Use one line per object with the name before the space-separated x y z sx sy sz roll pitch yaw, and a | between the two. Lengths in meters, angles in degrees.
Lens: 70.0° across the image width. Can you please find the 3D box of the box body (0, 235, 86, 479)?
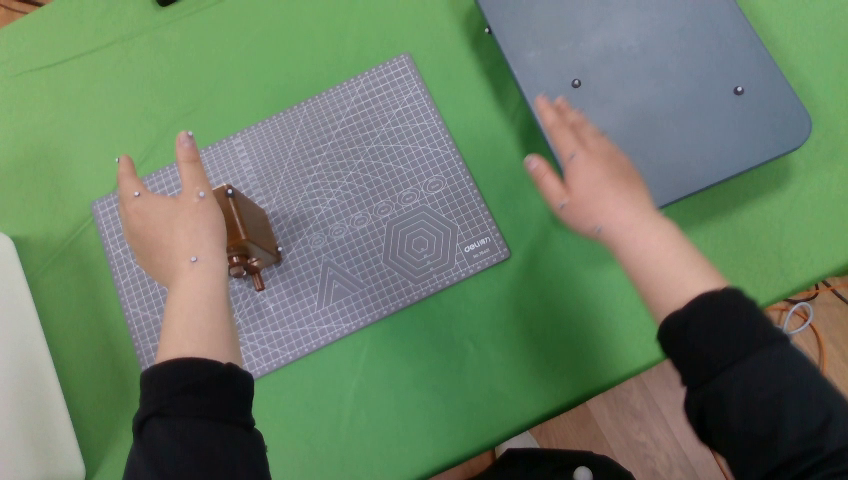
box body | -0.566 0.171 0.660 0.254 0.161 0.361 -28 74 -1

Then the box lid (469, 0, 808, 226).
box lid | 0.227 -0.221 0.690 0.263 0.015 0.369 -24 75 1

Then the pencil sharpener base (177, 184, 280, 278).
pencil sharpener base | -0.216 -0.004 0.684 0.061 0.107 0.076 -25 75 0

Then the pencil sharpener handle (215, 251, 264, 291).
pencil sharpener handle | -0.196 0.037 0.659 0.036 0.068 0.030 -26 74 6
